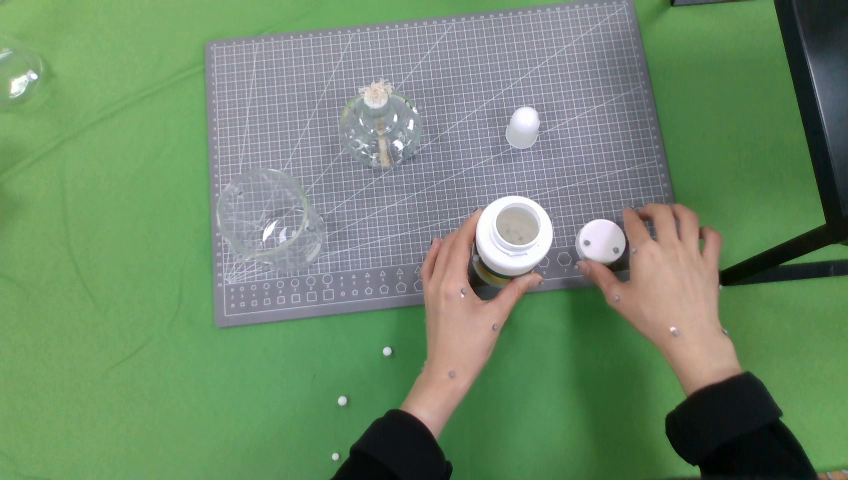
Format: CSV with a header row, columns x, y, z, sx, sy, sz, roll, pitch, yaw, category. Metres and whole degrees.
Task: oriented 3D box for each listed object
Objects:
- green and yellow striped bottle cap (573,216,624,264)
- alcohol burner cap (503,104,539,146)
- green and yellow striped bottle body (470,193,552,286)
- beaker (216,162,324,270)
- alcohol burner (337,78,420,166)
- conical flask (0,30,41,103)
x,y,z,sx,sy,sz,roll,pitch,yaw,category
0.166,-0.001,0.576,0.045,0.020,0.045,0,79,1,green and yellow striped bottle cap
0.095,-0.115,0.588,0.034,0.048,0.033,0,77,1,alcohol burner cap
0.073,0.000,0.523,0.063,0.120,0.063,0,77,1,green and yellow striped bottle body
-0.133,-0.013,0.540,0.074,0.100,0.083,22,79,6,beaker
-0.042,-0.113,0.553,0.078,0.119,0.077,0,76,-1,alcohol burner
-0.434,-0.188,0.573,0.075,0.122,0.075,0,77,1,conical flask
